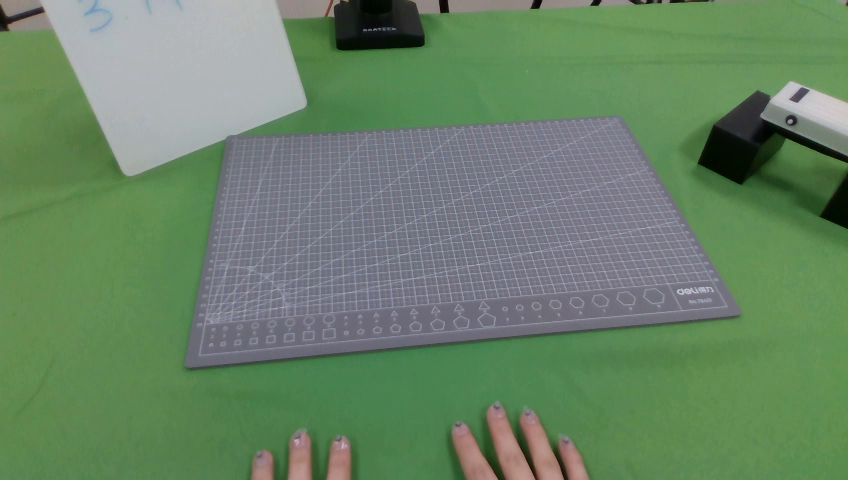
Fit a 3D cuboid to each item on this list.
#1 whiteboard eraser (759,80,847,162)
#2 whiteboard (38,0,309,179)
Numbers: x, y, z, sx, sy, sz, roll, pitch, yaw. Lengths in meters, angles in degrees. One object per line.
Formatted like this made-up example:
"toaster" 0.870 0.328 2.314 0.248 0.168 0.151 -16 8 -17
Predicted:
"whiteboard eraser" 0.391 -0.112 0.587 0.111 0.042 0.055 35 54 28
"whiteboard" -0.288 -0.258 0.637 0.217 0.308 0.142 -30 34 -27
